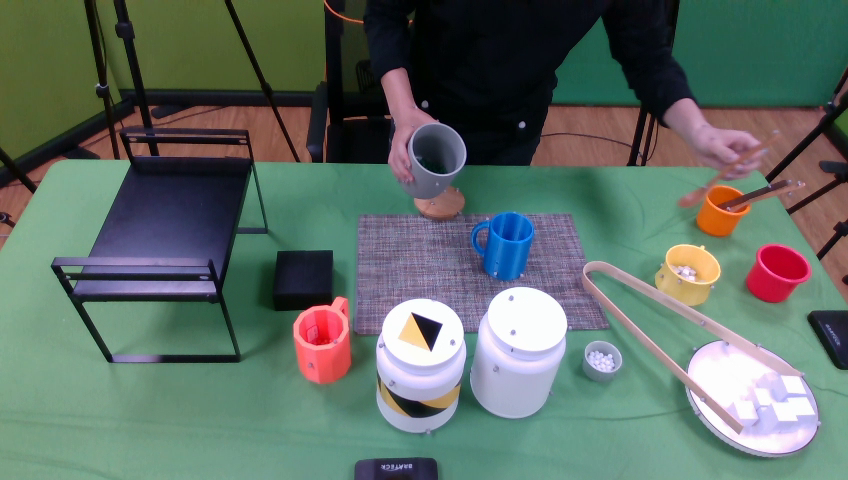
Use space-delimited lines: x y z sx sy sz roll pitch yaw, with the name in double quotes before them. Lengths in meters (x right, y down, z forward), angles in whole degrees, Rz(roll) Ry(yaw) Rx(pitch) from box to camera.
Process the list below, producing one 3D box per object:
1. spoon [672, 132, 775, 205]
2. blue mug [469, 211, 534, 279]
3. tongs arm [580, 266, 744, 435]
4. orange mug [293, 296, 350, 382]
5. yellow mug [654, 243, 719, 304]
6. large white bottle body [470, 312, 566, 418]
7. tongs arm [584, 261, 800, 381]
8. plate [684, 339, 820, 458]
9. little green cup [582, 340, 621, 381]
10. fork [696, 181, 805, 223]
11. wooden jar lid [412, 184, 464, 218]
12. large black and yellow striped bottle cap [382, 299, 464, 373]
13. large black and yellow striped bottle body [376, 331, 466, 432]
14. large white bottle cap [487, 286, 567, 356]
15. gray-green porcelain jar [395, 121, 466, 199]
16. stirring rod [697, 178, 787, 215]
"spoon" 0.491 -0.115 1.003 0.021 0.194 0.041 37 44 -3
"blue mug" 0.141 0.005 1.140 0.116 0.106 0.082 18 48 13
"tongs arm" 0.384 0.173 1.028 0.028 0.028 0.385 -25 46 -15
"orange mug" -0.158 0.154 0.985 0.083 0.101 0.125 17 52 11
"yellow mug" 0.503 0.054 1.154 0.099 0.064 0.130 28 50 22
"large white bottle body" 0.143 0.173 0.930 0.131 0.185 0.130 2 46 -2
"tongs arm" 0.452 0.137 1.064 0.051 0.027 0.382 -34 50 -27
"plate" 0.523 0.256 0.982 0.208 0.039 0.206 2 46 -2
"little green cup" 0.295 0.203 1.015 0.061 0.039 0.061 2 45 -2
"fork" 0.659 -0.077 1.232 0.207 0.019 0.028 -26 35 34
"wooden jar lid" 0.029 -0.082 1.276 0.108 0.021 0.107 3 43 -3
"large black and yellow striped bottle cap" -0.002 0.132 0.843 0.115 0.019 0.114 2 46 -2
"large black and yellow striped bottle body" -0.007 0.189 0.905 0.131 0.185 0.130 2 46 -2
"large white bottle cap" 0.147 0.114 0.869 0.115 0.018 0.114 3 46 -3
"gray-green porcelain jar" 0.007 -0.141 1.111 0.106 0.126 0.105 6 70 -16
"stirring rod" 0.650 -0.088 1.246 0.006 0.176 0.014 29 50 -39
